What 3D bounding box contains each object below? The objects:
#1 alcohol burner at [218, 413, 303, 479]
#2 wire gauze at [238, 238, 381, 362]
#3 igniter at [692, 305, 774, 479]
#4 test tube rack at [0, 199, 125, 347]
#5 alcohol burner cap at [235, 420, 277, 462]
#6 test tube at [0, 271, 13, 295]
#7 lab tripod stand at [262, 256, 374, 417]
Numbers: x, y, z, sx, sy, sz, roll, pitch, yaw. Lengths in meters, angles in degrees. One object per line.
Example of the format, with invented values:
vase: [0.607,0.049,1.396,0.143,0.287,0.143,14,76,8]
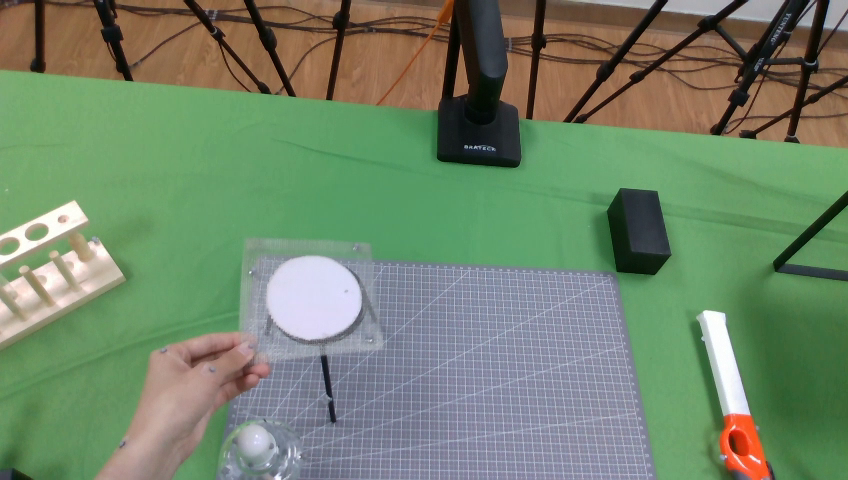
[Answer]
alcohol burner: [-0.152,0.193,0.560,0.078,0.120,0.077,4,55,-6]
wire gauze: [-0.105,0.049,0.550,0.122,0.011,0.124,1,55,-17]
igniter: [0.344,0.199,0.671,0.057,0.025,0.274,10,56,-13]
test tube rack: [-0.455,0.061,0.629,0.242,0.086,0.066,-34,67,-25]
alcohol burner cap: [-0.148,0.174,0.529,0.034,0.048,0.033,2,64,-4]
test tube: [-0.447,0.012,0.603,0.017,0.151,0.017,4,52,-5]
lab tripod stand: [-0.105,0.091,0.620,0.148,0.132,0.147,4,57,-6]
